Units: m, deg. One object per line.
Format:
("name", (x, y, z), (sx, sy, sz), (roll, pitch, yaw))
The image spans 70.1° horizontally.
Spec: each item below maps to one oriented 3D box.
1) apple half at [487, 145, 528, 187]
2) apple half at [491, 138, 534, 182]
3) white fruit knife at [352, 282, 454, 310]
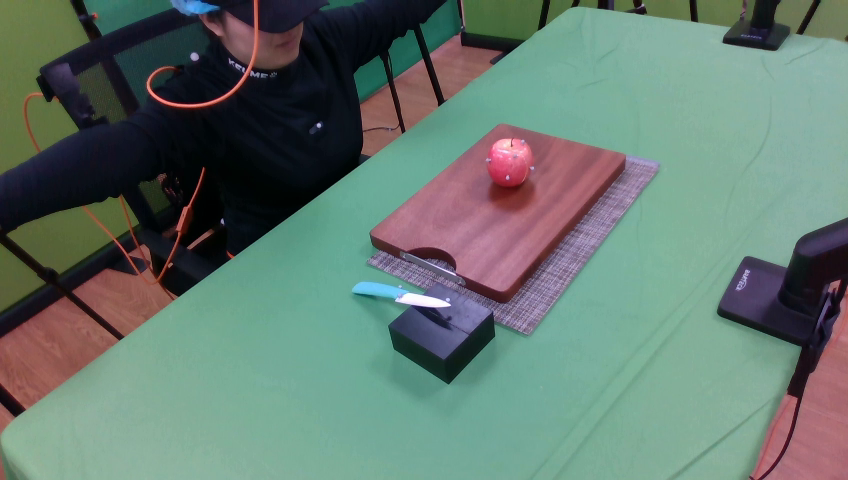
("apple half", (0.134, -0.118, 1.014), (0.080, 0.081, 0.033), (18, 44, 29))
("apple half", (0.156, -0.139, 1.038), (0.080, 0.075, 0.053), (16, 42, 32))
("white fruit knife", (-0.031, 0.079, 0.856), (0.205, 0.016, 0.027), (6, 38, 47))
